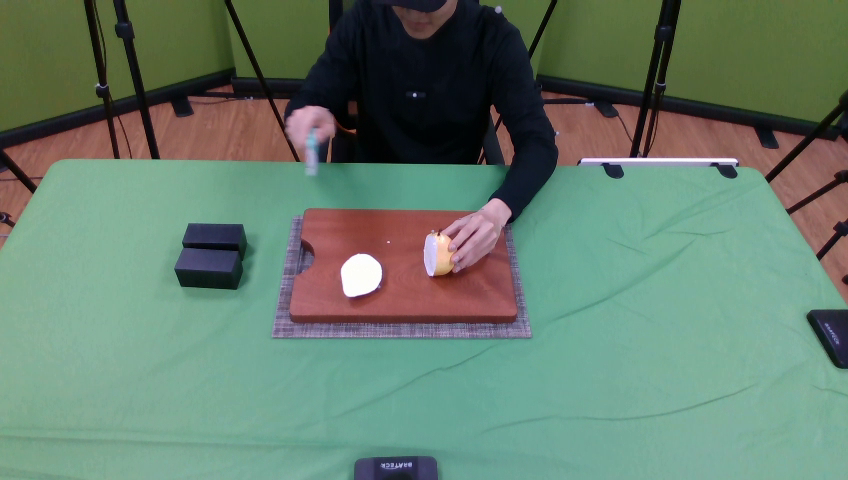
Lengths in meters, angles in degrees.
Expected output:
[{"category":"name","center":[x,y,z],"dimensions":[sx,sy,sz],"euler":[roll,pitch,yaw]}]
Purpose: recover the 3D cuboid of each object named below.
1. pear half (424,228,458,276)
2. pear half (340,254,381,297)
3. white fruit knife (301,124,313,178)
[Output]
[{"category":"pear half","center":[0.035,0.014,1.083],"dimensions":[0.056,0.110,0.076],"euler":[-12,56,-16]},{"category":"pear half","center":[-0.116,0.068,1.074],"dimensions":[0.070,0.031,0.088],"euler":[31,64,5]},{"category":"white fruit knife","center":[-0.196,-0.152,1.012],"dimensions":[0.016,0.027,0.206],"euler":[-23,32,5]}]
